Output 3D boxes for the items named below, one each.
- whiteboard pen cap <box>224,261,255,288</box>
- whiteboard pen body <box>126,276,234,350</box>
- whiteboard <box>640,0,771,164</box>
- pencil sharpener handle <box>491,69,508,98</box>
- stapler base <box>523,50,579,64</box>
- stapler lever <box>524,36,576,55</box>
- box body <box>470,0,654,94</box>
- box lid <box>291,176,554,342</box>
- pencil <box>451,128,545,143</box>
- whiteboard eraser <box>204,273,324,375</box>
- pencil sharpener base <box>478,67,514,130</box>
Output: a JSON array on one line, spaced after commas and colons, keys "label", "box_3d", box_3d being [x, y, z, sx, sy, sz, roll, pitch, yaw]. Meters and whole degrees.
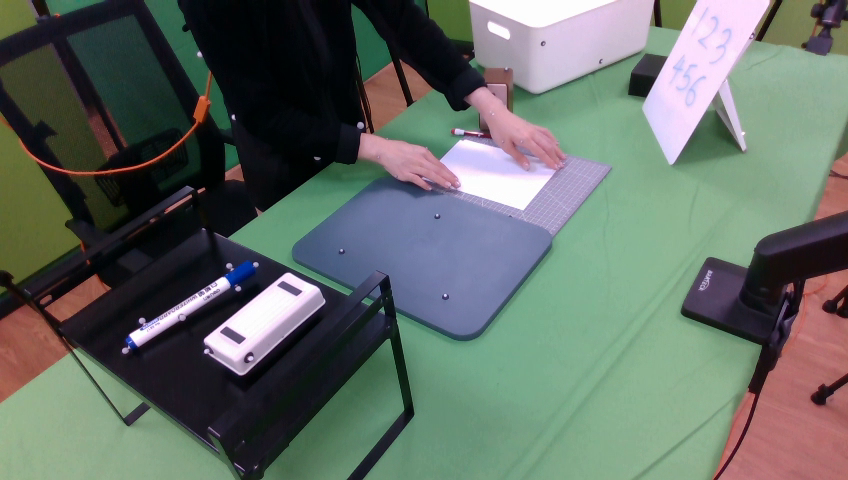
[{"label": "whiteboard pen cap", "box_3d": [-0.207, 0.039, 0.677, 0.033, 0.018, 0.018, -36, 47, -18]}, {"label": "whiteboard pen body", "box_3d": [-0.251, 0.070, 0.649, 0.141, 0.017, 0.017, -36, 48, -26]}, {"label": "whiteboard", "box_3d": [0.543, -0.299, 1.076, 0.144, 0.305, 0.216, 12, 40, -7]}, {"label": "pencil sharpener handle", "box_3d": [0.155, -0.329, 1.254, 0.036, 0.068, 0.030, 18, 44, 3]}, {"label": "stapler base", "box_3d": [0.301, -0.436, 1.434, 0.130, 0.024, 0.041, 5, 40, 16]}, {"label": "stapler lever", "box_3d": [0.296, -0.456, 1.418, 0.117, 0.040, 0.027, 4, 40, 17]}, {"label": "box body", "box_3d": [0.319, -0.498, 1.405, 0.365, 0.161, 0.252, -26, 43, -21]}, {"label": "box lid", "box_3d": [-0.005, 0.011, 0.972, 0.368, 0.015, 0.264, 21, 49, 30]}, {"label": "pencil", "box_3d": [0.145, -0.207, 1.205, 0.193, 0.012, 0.012, 11, 44, 20]}, {"label": "whiteboard eraser", "box_3d": [-0.157, 0.084, 0.605, 0.055, 0.042, 0.113, 24, 49, 30]}, {"label": "pencil sharpener base", "box_3d": [0.148, -0.286, 1.225, 0.061, 0.107, 0.076, 5, 42, 15]}]
